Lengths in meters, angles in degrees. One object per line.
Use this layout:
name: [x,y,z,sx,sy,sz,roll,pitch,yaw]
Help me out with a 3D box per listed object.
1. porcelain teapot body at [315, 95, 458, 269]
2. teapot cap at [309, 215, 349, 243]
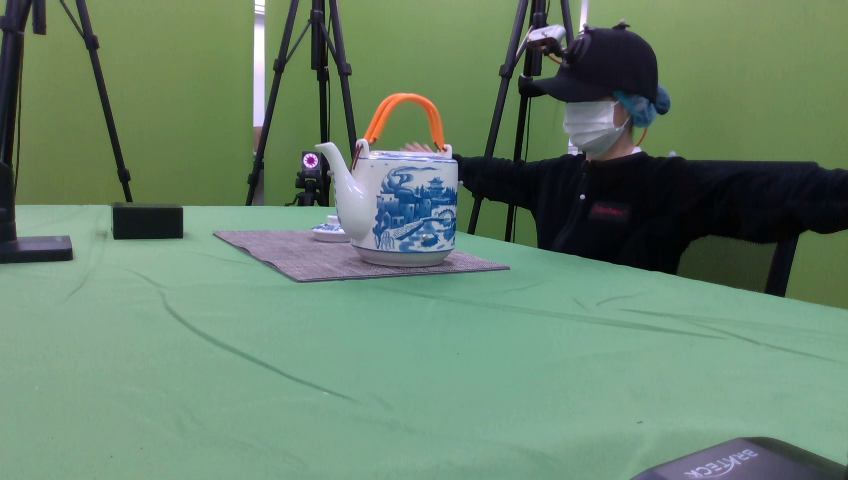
porcelain teapot body: [-0.049,-0.079,0.800,0.206,0.225,0.144,-3,9,-37]
teapot cap: [-0.151,-0.020,1.014,0.085,0.044,0.085,3,10,0]
